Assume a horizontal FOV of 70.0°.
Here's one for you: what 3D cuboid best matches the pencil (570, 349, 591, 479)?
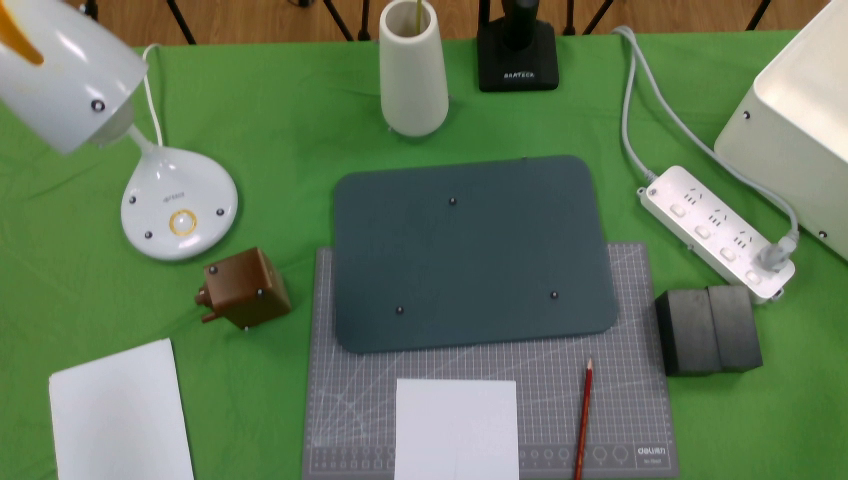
[{"bbox_3d":[0.189,0.227,0.735,0.012,0.012,0.193,11,72,6],"label":"pencil"}]

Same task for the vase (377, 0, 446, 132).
[{"bbox_3d":[-0.017,-0.232,0.815,0.098,0.201,0.097,0,68,1],"label":"vase"}]

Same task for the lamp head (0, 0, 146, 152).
[{"bbox_3d":[-0.319,-0.154,0.508,0.112,0.124,0.111,-29,35,23],"label":"lamp head"}]

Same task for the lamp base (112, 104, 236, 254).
[{"bbox_3d":[-0.353,-0.093,0.780,0.160,0.181,0.178,-31,69,-10],"label":"lamp base"}]

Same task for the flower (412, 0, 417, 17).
[{"bbox_3d":[-0.011,-0.275,0.743,0.044,0.364,0.038,-22,58,-23],"label":"flower"}]

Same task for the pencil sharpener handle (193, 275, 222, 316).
[{"bbox_3d":[-0.270,0.073,0.742,0.030,0.068,0.035,-21,57,-6],"label":"pencil sharpener handle"}]

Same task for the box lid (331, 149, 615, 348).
[{"bbox_3d":[0.061,0.005,0.824,0.372,0.015,0.261,-5,69,0],"label":"box lid"}]

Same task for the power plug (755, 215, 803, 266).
[{"bbox_3d":[0.459,0.007,0.778,0.072,0.053,0.035,-28,68,-13],"label":"power plug"}]

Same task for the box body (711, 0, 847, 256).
[{"bbox_3d":[0.599,-0.123,0.778,0.254,0.161,0.362,-43,74,-13],"label":"box body"}]

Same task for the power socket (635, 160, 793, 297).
[{"bbox_3d":[0.388,-0.017,0.813,0.072,0.033,0.225,-39,73,-13],"label":"power socket"}]

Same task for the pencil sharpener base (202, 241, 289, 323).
[{"bbox_3d":[-0.223,0.056,0.761,0.077,0.108,0.061,-21,70,-6],"label":"pencil sharpener base"}]
